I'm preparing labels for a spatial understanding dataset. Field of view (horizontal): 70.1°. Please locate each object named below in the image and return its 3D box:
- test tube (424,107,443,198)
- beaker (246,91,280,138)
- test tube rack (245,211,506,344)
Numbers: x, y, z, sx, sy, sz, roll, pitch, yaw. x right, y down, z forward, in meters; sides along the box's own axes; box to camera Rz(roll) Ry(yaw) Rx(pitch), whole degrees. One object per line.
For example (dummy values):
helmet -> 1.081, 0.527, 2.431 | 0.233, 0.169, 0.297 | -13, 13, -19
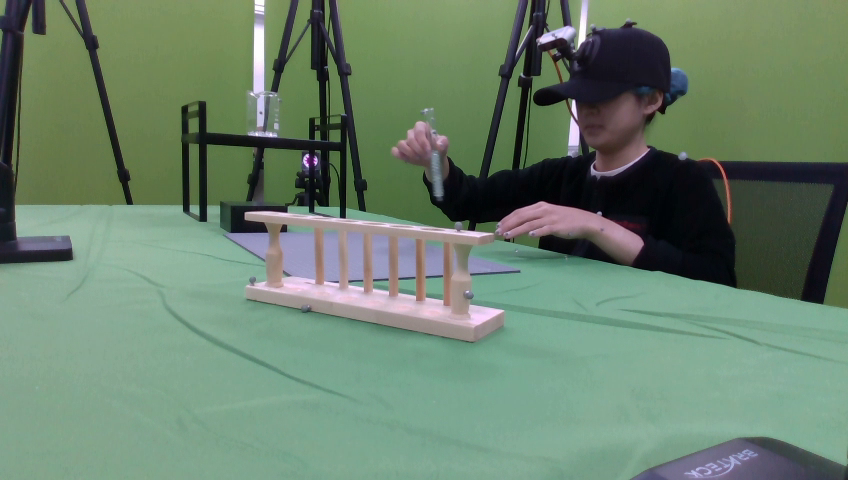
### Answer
test tube -> 0.017, -0.143, 0.996 | 0.017, 0.150, 0.017 | -6, 18, 2
beaker -> -0.361, -0.279, 1.351 | 0.074, 0.100, 0.084 | 3, 8, 1
test tube rack -> -0.049, 0.025, 0.547 | 0.241, 0.085, 0.067 | 7, 8, 28
